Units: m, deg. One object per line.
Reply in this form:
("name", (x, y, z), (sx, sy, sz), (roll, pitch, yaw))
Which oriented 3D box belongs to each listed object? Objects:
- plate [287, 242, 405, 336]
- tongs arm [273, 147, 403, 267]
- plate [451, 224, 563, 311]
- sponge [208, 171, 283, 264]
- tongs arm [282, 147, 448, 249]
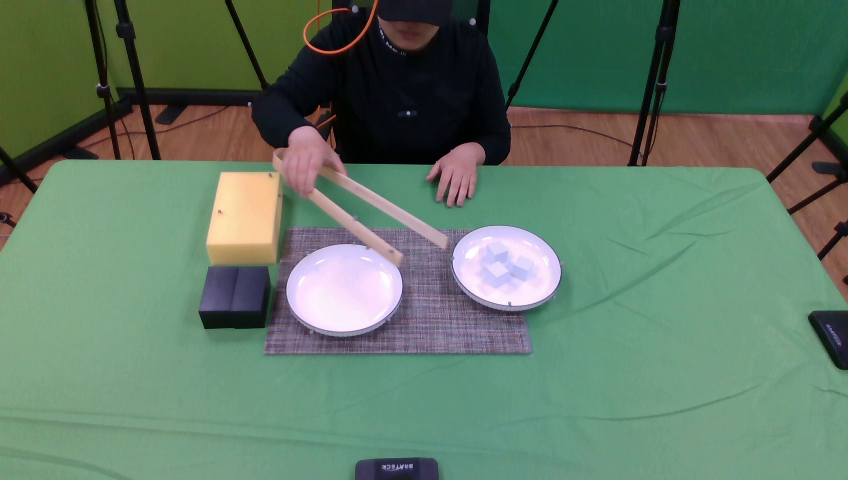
("plate", (-0.138, 0.090, 1.085), (0.208, 0.039, 0.206), (2, 46, -2))
("tongs arm", (-0.155, -0.067, 1.046), (0.382, 0.026, 0.051), (35, 38, 31))
("plate", (0.154, 0.053, 1.140), (0.209, 0.038, 0.208), (2, 46, -2))
("sponge", (-0.346, -0.048, 1.191), (0.118, 0.061, 0.205), (-2, 46, -7))
("tongs arm", (-0.114, -0.082, 1.089), (0.386, 0.028, 0.028), (30, 39, 25))
